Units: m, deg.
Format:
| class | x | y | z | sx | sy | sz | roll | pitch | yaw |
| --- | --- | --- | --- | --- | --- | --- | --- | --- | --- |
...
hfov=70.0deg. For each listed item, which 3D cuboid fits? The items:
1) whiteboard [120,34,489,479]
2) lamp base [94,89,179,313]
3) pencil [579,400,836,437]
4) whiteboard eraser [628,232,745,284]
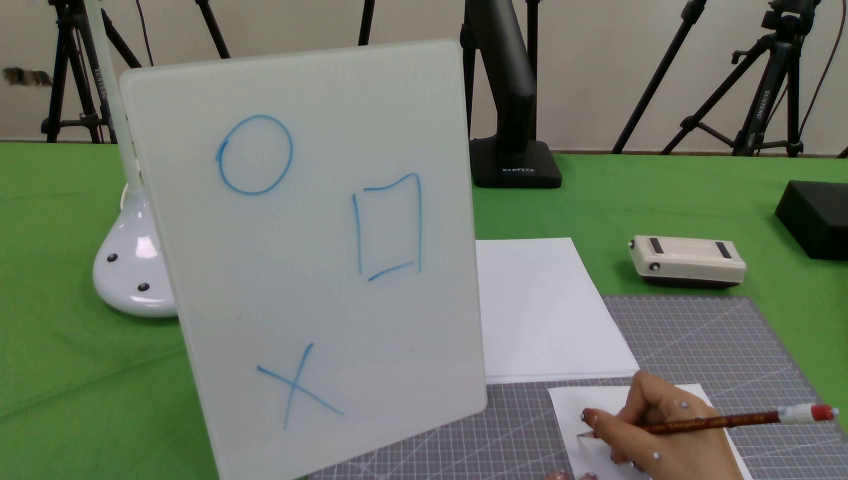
| class | x | y | z | sx | sy | sz | roll | pitch | yaw |
| --- | --- | --- | --- | --- | --- | --- | --- | --- | --- |
| whiteboard | -0.083 | 0.007 | 0.484 | 0.218 | 0.307 | 0.142 | -13 | 21 | -20 |
| lamp base | -0.264 | -0.047 | 0.596 | 0.177 | 0.182 | 0.160 | 26 | 42 | 30 |
| pencil | 0.184 | 0.129 | 0.427 | 0.012 | 0.194 | 0.012 | 15 | 63 | -32 |
| whiteboard eraser | 0.289 | 0.021 | 0.673 | 0.113 | 0.042 | 0.055 | 4 | 37 | 1 |
